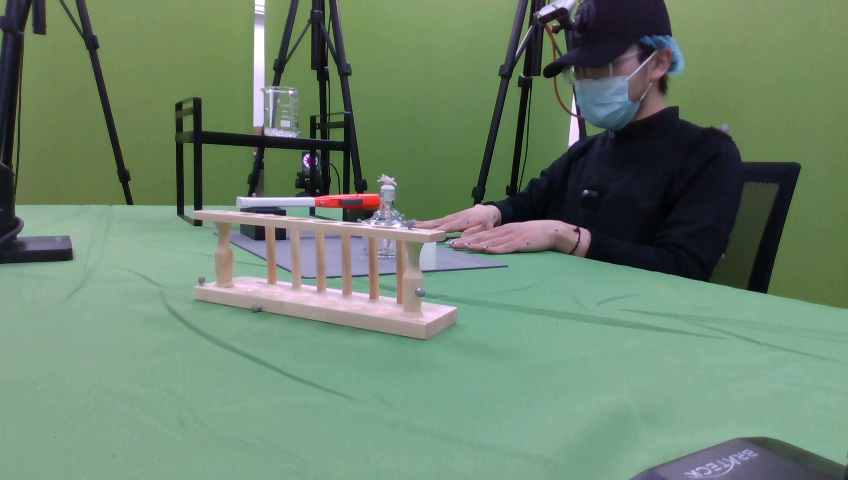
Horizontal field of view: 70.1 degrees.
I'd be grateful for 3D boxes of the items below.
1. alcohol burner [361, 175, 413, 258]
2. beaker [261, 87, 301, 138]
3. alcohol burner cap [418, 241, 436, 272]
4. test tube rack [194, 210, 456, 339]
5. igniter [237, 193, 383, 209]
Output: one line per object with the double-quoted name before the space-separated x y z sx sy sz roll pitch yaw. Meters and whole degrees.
"alcohol burner" -0.054 -0.034 0.870 0.078 0.119 0.078 1 9 0
"beaker" -0.298 -0.263 1.255 0.084 0.100 0.073 -5 10 -40
"alcohol burner cap" 0.001 0.015 0.787 0.034 0.048 0.034 4 7 0
"test tube rack" -0.093 0.023 0.545 0.241 0.085 0.067 6 8 25
"igniter" -0.191 -0.069 1.072 0.278 0.025 0.057 -5 11 -35
